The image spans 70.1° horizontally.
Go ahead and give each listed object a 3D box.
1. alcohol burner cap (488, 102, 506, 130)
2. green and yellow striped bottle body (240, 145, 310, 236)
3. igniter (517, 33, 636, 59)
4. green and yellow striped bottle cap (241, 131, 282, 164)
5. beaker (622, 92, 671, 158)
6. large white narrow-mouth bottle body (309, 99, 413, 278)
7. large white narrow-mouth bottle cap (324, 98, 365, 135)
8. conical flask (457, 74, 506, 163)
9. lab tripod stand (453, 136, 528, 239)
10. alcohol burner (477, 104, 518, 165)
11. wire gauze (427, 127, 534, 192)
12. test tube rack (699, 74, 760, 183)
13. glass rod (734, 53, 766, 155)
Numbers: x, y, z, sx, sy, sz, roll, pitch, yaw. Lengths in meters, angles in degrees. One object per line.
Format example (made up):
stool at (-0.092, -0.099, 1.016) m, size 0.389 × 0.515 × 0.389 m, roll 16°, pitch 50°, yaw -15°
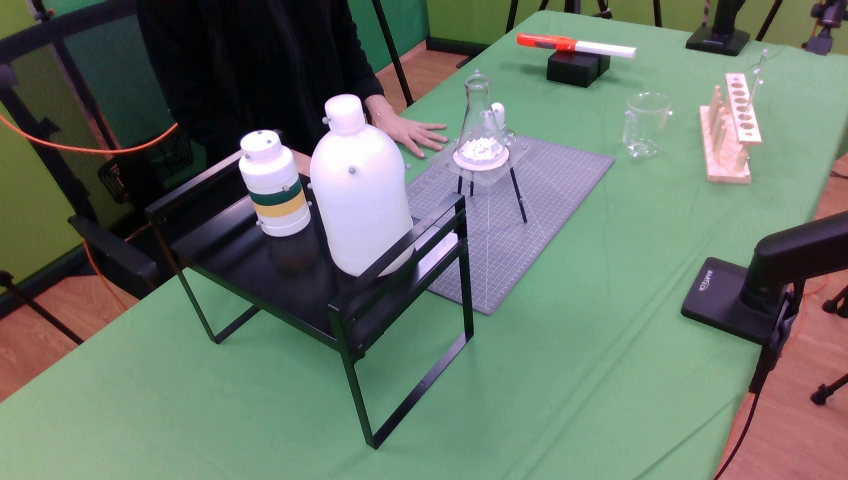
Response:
alcohol burner cap at (0.133, -0.227, 1.092) m, size 0.034 × 0.048 × 0.033 m, roll -2°, pitch 47°, yaw 2°
green and yellow striped bottle body at (-0.181, -0.068, 0.729) m, size 0.063 × 0.120 × 0.063 m, roll -4°, pitch 40°, yaw 4°
igniter at (0.336, -0.441, 1.369) m, size 0.275 × 0.025 × 0.057 m, roll 16°, pitch 41°, yaw 23°
green and yellow striped bottle cap at (-0.187, -0.107, 0.695) m, size 0.045 × 0.020 × 0.045 m, roll -3°, pitch 39°, yaw 3°
beaker at (0.402, -0.210, 1.106) m, size 0.074 × 0.101 × 0.083 m, roll -9°, pitch 40°, yaw -2°
large white narrow-mouth bottle body at (-0.069, -0.057, 0.644) m, size 0.102 × 0.195 × 0.101 m, roll -3°, pitch 42°, yaw 4°
large white narrow-mouth bottle cap at (-0.076, -0.120, 0.585) m, size 0.038 × 0.024 × 0.037 m, roll -3°, pitch 42°, yaw 3°
conical flask at (0.082, -0.181, 0.893) m, size 0.075 × 0.122 × 0.075 m, roll -4°, pitch 41°, yaw 4°
lab tripod stand at (0.094, -0.086, 0.974) m, size 0.148 × 0.132 × 0.147 m, roll -4°, pitch 43°, yaw 4°
alcohol burner at (0.135, -0.200, 1.117) m, size 0.078 × 0.119 × 0.077 m, roll -4°, pitch 43°, yaw 4°
wire gauze at (0.086, -0.130, 0.925) m, size 0.124 × 0.011 × 0.122 m, roll 28°, pitch 54°, yaw 31°
test tube rack at (0.547, -0.208, 1.095) m, size 0.066 × 0.085 × 0.242 m, roll 6°, pitch 42°, yaw 16°
glass rod at (0.540, -0.220, 1.007) m, size 0.008 × 0.201 × 0.008 m, roll -5°, pitch 46°, yaw 6°
